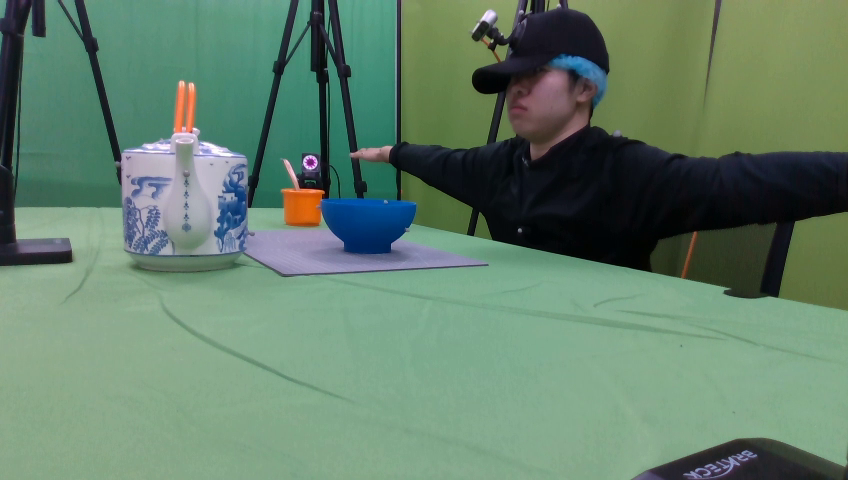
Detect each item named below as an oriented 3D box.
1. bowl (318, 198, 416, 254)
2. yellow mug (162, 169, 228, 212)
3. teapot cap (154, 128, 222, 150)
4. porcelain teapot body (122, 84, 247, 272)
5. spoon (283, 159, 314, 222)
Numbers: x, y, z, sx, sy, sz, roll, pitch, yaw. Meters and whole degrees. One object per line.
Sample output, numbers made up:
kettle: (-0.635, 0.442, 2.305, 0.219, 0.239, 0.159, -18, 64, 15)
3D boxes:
bowl: (-0.089, -0.022, 0.941, 0.151, 0.077, 0.151, 2, 7, 0)
yellow mug: (-0.366, -0.082, 0.995, 0.100, 0.064, 0.131, 5, 7, 16)
teapot cap: (-0.294, -0.117, 0.754, 0.085, 0.044, 0.085, 4, 9, 0)
porcelain teapot body: (-0.286, -0.075, 0.733, 0.146, 0.225, 0.204, 0, 8, -24)
spoon: (-0.280, -0.111, 1.323, 0.042, 0.193, 0.021, 1, -38, -35)
